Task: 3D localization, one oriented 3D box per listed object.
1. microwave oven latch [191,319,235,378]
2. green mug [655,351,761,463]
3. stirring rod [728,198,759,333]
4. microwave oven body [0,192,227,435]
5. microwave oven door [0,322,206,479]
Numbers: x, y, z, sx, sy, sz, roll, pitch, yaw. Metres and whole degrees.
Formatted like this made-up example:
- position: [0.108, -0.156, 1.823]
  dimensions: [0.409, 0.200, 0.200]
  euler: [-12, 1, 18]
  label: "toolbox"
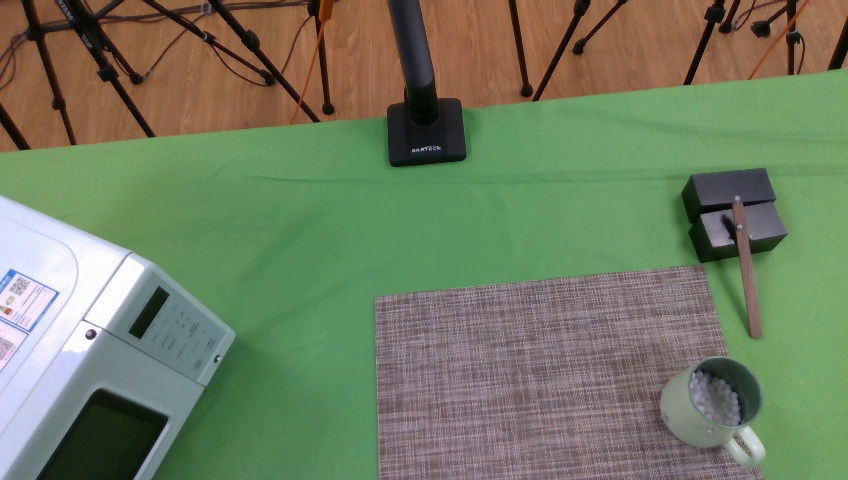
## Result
- position: [-0.279, 0.138, 0.790]
  dimensions: [0.030, 0.030, 0.079]
  euler: [22, 69, 14]
  label: "microwave oven latch"
- position: [0.332, 0.193, 0.690]
  dimensions: [0.092, 0.106, 0.124]
  euler: [-28, 65, -9]
  label: "green mug"
- position: [0.411, 0.033, 0.779]
  dimensions: [0.014, 0.006, 0.176]
  euler: [-8, 88, 13]
  label: "stirring rod"
- position: [-0.495, 0.194, 0.674]
  dimensions: [0.325, 0.262, 0.439]
  euler: [21, 69, 14]
  label: "microwave oven body"
- position: [-0.380, 0.276, 0.620]
  dimensions: [0.039, 0.246, 0.354]
  euler: [20, 68, 15]
  label: "microwave oven door"
